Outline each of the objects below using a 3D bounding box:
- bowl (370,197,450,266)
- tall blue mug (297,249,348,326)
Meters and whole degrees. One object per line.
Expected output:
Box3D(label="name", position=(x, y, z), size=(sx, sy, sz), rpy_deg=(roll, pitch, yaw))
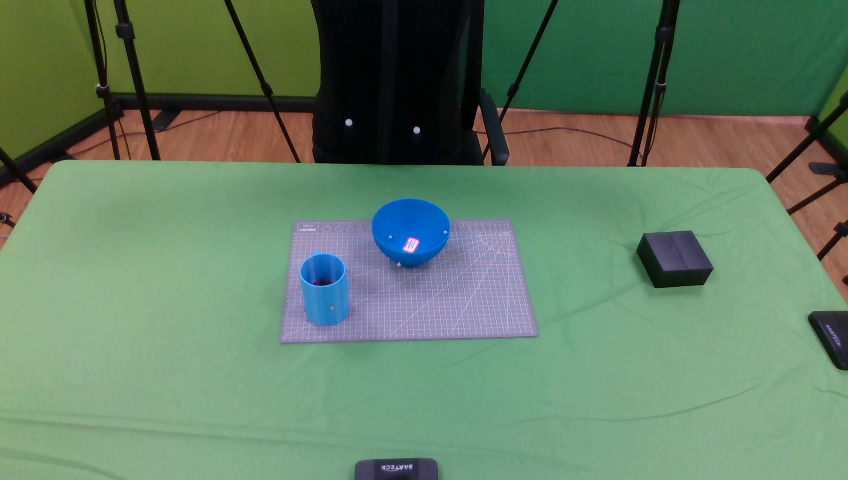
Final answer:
Box3D(label="bowl", position=(-0.028, -0.003, 1.156), size=(0.151, 0.077, 0.150), rpy_deg=(2, 46, -2))
Box3D(label="tall blue mug", position=(-0.183, 0.077, 1.044), size=(0.106, 0.108, 0.078), rpy_deg=(35, 55, 26))
